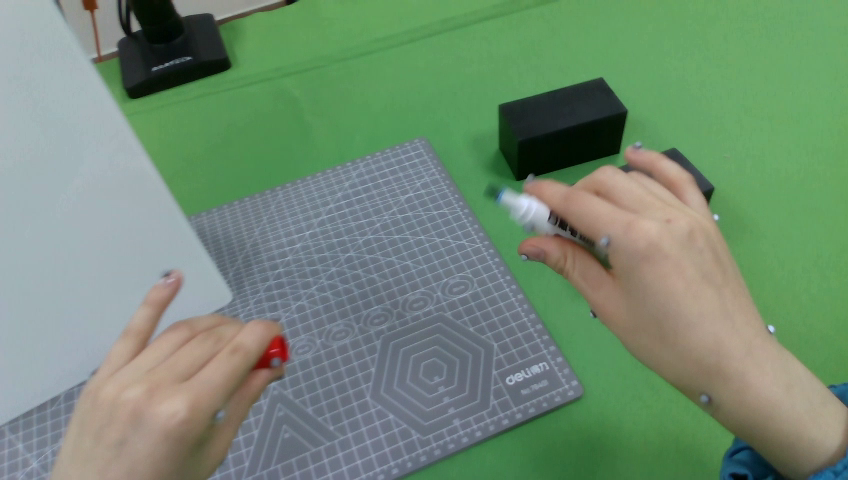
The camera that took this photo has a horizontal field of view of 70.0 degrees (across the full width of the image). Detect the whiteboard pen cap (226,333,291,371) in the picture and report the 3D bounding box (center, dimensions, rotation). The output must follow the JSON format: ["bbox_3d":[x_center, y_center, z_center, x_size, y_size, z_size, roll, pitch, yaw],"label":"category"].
[{"bbox_3d":[-0.091,0.062,0.334,0.032,0.017,0.017,-10,52,0],"label":"whiteboard pen cap"}]

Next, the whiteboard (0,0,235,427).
[{"bbox_3d":[-0.313,-0.049,0.429,0.217,0.308,0.142,-29,35,-15],"label":"whiteboard"}]

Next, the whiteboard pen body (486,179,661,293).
[{"bbox_3d":[0.084,-0.001,0.330,0.017,0.142,0.016,-35,40,37],"label":"whiteboard pen body"}]
